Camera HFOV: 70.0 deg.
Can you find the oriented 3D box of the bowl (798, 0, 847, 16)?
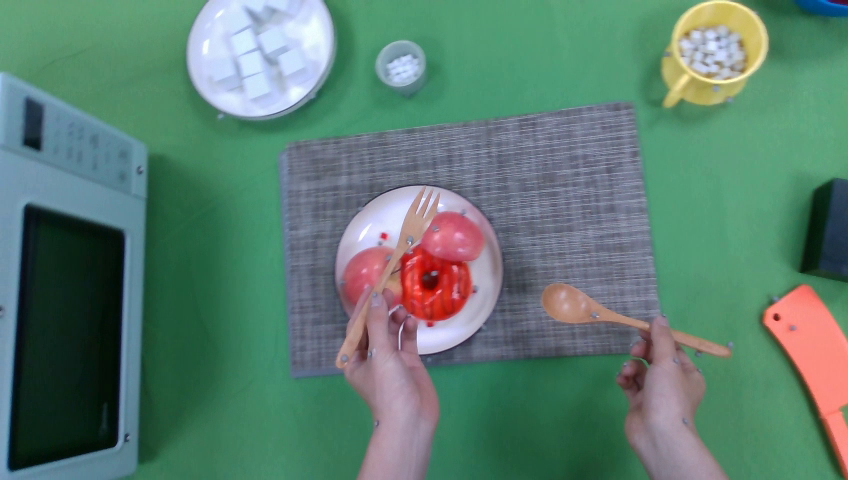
[{"bbox_3d":[0.476,-0.315,0.687,0.151,0.077,0.151,-1,82,10],"label":"bowl"}]

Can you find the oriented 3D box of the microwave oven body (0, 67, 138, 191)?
[{"bbox_3d":[-0.544,0.067,0.711,0.325,0.261,0.440,-3,81,9],"label":"microwave oven body"}]

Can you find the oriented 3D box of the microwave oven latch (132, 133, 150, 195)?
[{"bbox_3d":[-0.386,-0.101,0.808,0.030,0.029,0.079,-1,82,9],"label":"microwave oven latch"}]

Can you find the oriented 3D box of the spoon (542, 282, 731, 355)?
[{"bbox_3d":[0.216,0.085,0.621,0.193,0.022,0.041,16,69,13],"label":"spoon"}]

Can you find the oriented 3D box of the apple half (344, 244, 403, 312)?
[{"bbox_3d":[-0.065,0.044,0.713,0.074,0.054,0.080,-12,74,50],"label":"apple half"}]

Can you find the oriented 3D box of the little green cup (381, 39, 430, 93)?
[{"bbox_3d":[-0.021,-0.221,0.781,0.061,0.039,0.061,-2,81,10],"label":"little green cup"}]

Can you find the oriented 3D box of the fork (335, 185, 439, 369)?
[{"bbox_3d":[-0.035,0.033,0.598,0.028,0.019,0.206,26,67,3],"label":"fork"}]

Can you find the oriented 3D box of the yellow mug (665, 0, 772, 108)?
[{"bbox_3d":[0.328,-0.205,0.703,0.099,0.064,0.131,43,92,13],"label":"yellow mug"}]

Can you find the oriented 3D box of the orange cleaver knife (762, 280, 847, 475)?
[{"bbox_3d":[0.440,0.149,0.653,0.077,0.012,0.210,-20,77,1],"label":"orange cleaver knife"}]

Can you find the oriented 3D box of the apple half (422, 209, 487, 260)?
[{"bbox_3d":[0.039,-0.013,0.708,0.081,0.033,0.080,5,44,-4],"label":"apple half"}]

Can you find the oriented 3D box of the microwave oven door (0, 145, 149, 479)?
[{"bbox_3d":[-0.400,0.099,0.676,0.039,0.245,0.354,-4,81,10],"label":"microwave oven door"}]

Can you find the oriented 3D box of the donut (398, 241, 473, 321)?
[{"bbox_3d":[0.009,0.048,0.720,0.099,0.048,0.099,-1,83,9],"label":"donut"}]

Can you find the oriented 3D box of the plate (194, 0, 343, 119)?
[{"bbox_3d":[-0.207,-0.260,0.820,0.207,0.039,0.207,-2,81,10],"label":"plate"}]

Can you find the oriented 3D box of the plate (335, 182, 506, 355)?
[{"bbox_3d":[-0.003,0.034,0.736,0.209,0.038,0.208,-2,82,10],"label":"plate"}]
